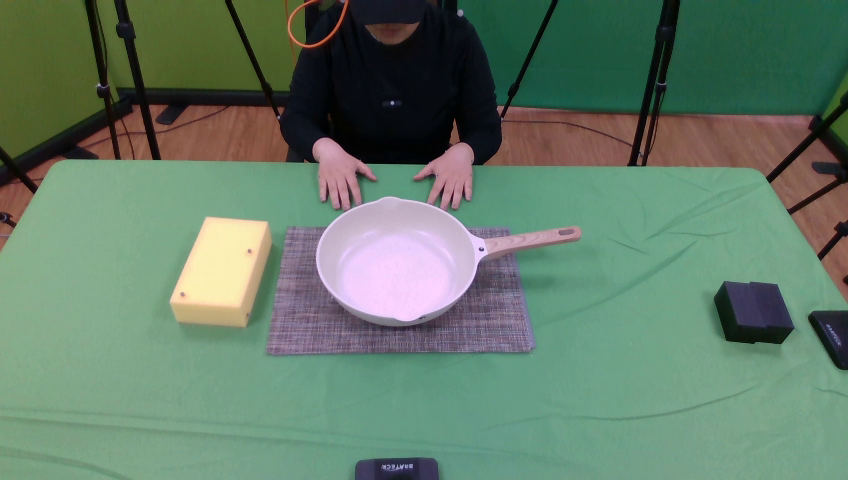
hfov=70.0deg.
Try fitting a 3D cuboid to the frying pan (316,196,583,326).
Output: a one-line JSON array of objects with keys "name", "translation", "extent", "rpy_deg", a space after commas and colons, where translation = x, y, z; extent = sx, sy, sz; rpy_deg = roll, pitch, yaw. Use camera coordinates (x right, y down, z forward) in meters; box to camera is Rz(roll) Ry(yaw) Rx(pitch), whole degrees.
[{"name": "frying pan", "translation": [0.054, 0.027, 1.114], "extent": [0.488, 0.103, 0.304], "rpy_deg": [-9, 48, -1]}]

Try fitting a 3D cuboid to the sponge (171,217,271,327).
[{"name": "sponge", "translation": [-0.359, 0.053, 1.094], "extent": [0.118, 0.061, 0.205], "rpy_deg": [3, 46, -1]}]
